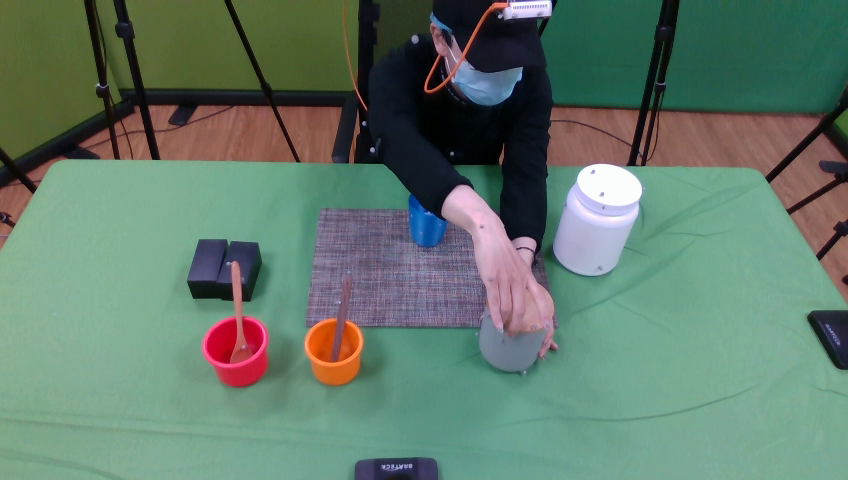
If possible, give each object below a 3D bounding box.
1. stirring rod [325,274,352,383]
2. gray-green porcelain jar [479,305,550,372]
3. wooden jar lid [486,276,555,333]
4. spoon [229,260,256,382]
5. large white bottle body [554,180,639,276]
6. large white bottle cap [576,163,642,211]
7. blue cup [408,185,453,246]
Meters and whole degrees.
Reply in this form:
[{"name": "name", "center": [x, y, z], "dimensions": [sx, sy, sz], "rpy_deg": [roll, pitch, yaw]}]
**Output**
[{"name": "stirring rod", "center": [-0.137, 0.142, 0.972], "dimensions": [0.014, 0.006, 0.176], "rpy_deg": [10, 89, 0]}, {"name": "gray-green porcelain jar", "center": [0.146, 0.147, 0.993], "dimensions": [0.106, 0.127, 0.105], "rpy_deg": [2, 46, -2]}, {"name": "wooden jar lid", "center": [0.150, 0.103, 0.949], "dimensions": [0.108, 0.021, 0.107], "rpy_deg": [1, 49, -1]}, {"name": "spoon", "center": [-0.294, 0.129, 0.966], "dimensions": [0.042, 0.021, 0.193], "rpy_deg": [-4, 91, -8]}, {"name": "large white bottle body", "center": [0.326, -0.037, 1.141], "dimensions": [0.131, 0.185, 0.130], "rpy_deg": [2, 46, -2]}, {"name": "large white bottle cap", "center": [0.330, -0.096, 1.081], "dimensions": [0.115, 0.018, 0.114], "rpy_deg": [2, 46, -2]}, {"name": "blue cup", "center": [0.008, -0.042, 1.177], "dimensions": [0.093, 0.101, 0.092], "rpy_deg": [3, 48, -3]}]
